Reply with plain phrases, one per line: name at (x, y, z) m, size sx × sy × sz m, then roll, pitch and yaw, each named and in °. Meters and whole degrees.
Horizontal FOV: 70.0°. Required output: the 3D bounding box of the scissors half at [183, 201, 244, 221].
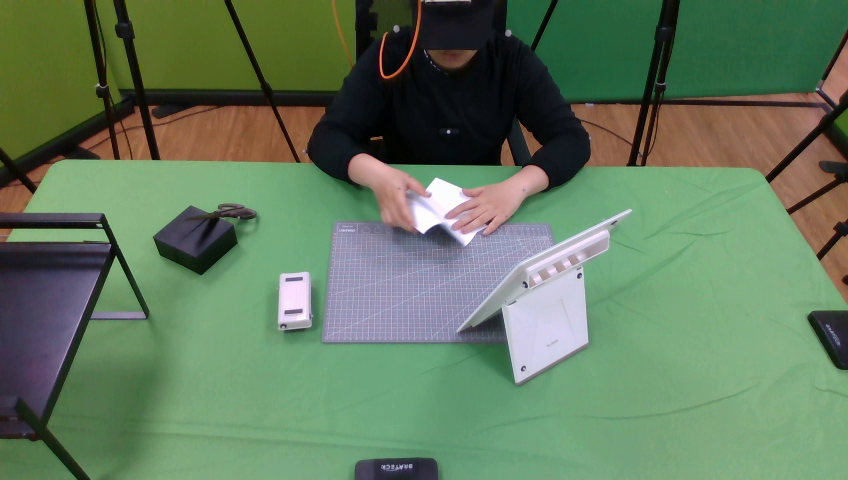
scissors half at (-0.405, -0.053, 1.163) m, size 0.040 × 0.013 × 0.175 m, roll 27°, pitch 18°, yaw 8°

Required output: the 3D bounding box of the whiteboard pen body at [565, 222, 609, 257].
whiteboard pen body at (0.334, -0.004, 1.228) m, size 0.141 × 0.017 × 0.017 m, roll -33°, pitch 56°, yaw -29°

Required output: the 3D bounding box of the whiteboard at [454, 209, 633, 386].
whiteboard at (0.211, 0.111, 0.954) m, size 0.217 × 0.306 × 0.143 m, roll -22°, pitch 72°, yaw -24°

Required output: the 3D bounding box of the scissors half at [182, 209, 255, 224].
scissors half at (-0.389, -0.042, 1.158) m, size 0.040 × 0.013 × 0.175 m, roll 39°, pitch 21°, yaw 23°

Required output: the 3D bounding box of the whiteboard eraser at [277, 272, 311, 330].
whiteboard eraser at (-0.228, 0.108, 1.062) m, size 0.056 × 0.042 × 0.112 m, roll -3°, pitch 46°, yaw -10°

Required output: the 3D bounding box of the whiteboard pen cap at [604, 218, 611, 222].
whiteboard pen cap at (0.378, -0.031, 1.255) m, size 0.033 × 0.018 × 0.018 m, roll -33°, pitch 57°, yaw -29°
